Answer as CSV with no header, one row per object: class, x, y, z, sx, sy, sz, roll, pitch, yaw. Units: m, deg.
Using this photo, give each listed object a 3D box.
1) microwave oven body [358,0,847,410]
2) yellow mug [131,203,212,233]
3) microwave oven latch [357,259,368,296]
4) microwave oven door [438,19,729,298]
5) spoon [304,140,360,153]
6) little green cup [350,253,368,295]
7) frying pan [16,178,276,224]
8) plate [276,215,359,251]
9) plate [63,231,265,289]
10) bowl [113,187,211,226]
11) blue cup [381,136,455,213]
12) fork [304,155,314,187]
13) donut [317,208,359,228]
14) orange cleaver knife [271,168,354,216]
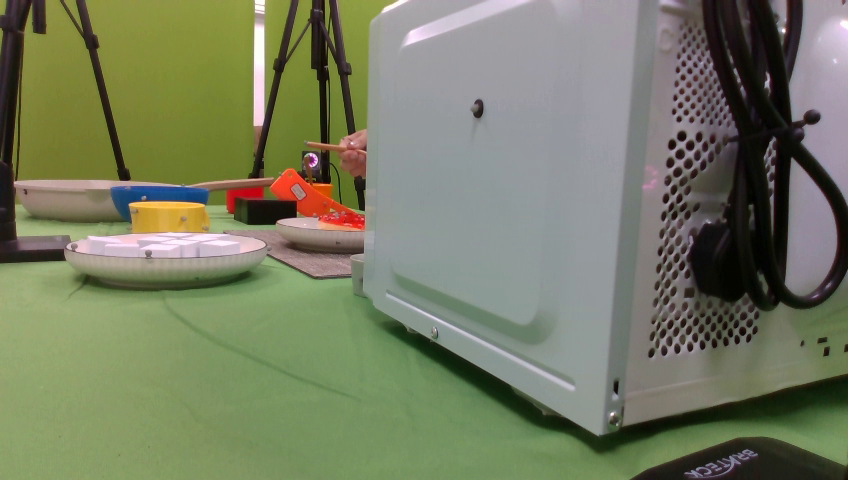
microwave oven body,0.210,-0.051,0.471,0.444,0.260,0.324,-1,7,-28
yellow mug,-0.356,-0.020,0.878,0.099,0.064,0.131,5,7,22
microwave oven latch,-0.019,0.031,0.528,0.079,0.029,0.030,-1,7,-25
microwave oven door,0.181,-0.076,0.618,0.358,0.243,0.039,-2,8,-28
spoon,-0.101,-0.140,0.974,0.193,0.021,0.041,15,9,8
little green cup,-0.048,0.035,0.632,0.061,0.038,0.061,3,6,0
frying pan,-0.554,-0.097,1.266,0.490,0.102,0.305,-10,13,-24
plate,-0.126,-0.012,0.950,0.209,0.038,0.209,2,7,0
plate,-0.288,0.021,0.687,0.208,0.039,0.207,2,8,0
bowl,-0.436,-0.046,1.013,0.151,0.077,0.151,2,7,0
blue cup,-0.004,-0.098,0.957,0.093,0.100,0.092,-37,-13,-10
fork,-0.268,-0.134,1.446,0.028,0.018,0.207,1,-36,-1
donut,-0.118,-0.024,0.954,0.099,0.048,0.099,5,6,0
orange cleaver knife,-0.237,-0.084,1.332,0.212,0.077,0.012,31,-9,-31
